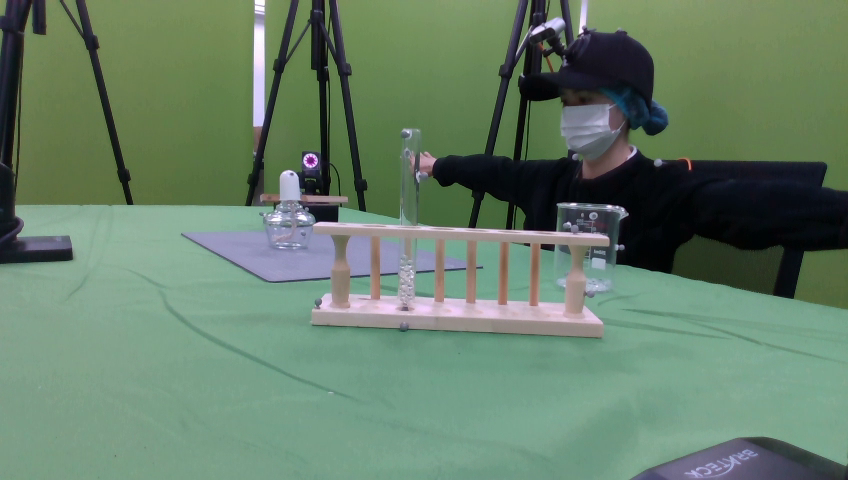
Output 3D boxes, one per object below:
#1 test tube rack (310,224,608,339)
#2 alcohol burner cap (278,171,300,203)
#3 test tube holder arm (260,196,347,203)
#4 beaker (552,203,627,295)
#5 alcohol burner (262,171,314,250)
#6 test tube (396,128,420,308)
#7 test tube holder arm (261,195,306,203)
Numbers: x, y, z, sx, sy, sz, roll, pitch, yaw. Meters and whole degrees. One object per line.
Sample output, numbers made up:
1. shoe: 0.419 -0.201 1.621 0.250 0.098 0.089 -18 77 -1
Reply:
1. test tube rack: 0.028 0.032 0.528 0.242 0.085 0.067 3 7 0
2. alcohol burner cap: -0.203 -0.080 0.909 0.034 0.048 0.034 -1 3 0
3. test tube holder arm: -0.239 -0.082 1.213 0.179 0.015 0.013 -1 0 -32
4. beaker: 0.191 0.010 0.708 0.083 0.100 0.074 8 9 33
5. alcohol burner: -0.205 -0.045 0.913 0.078 0.119 0.078 1 9 0
6. test tube: -0.014 -0.016 0.501 0.017 0.150 0.017 2 11 0
7. test tube holder arm: -0.275 -0.081 1.184 0.088 0.015 0.010 -1 0 -32
